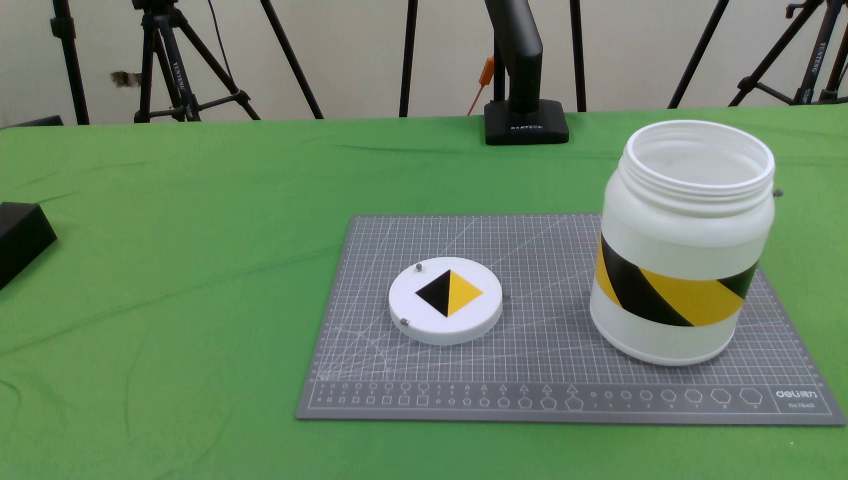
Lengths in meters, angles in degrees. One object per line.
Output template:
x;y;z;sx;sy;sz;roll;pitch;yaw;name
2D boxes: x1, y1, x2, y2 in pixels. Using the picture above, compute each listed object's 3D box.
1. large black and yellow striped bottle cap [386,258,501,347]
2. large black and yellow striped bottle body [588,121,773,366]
0.019;0.060;0.610;0.115;0.019;0.114;-1;38;1;large black and yellow striped bottle cap
0.217;0.004;0.526;0.131;0.185;0.129;-3;38;2;large black and yellow striped bottle body
